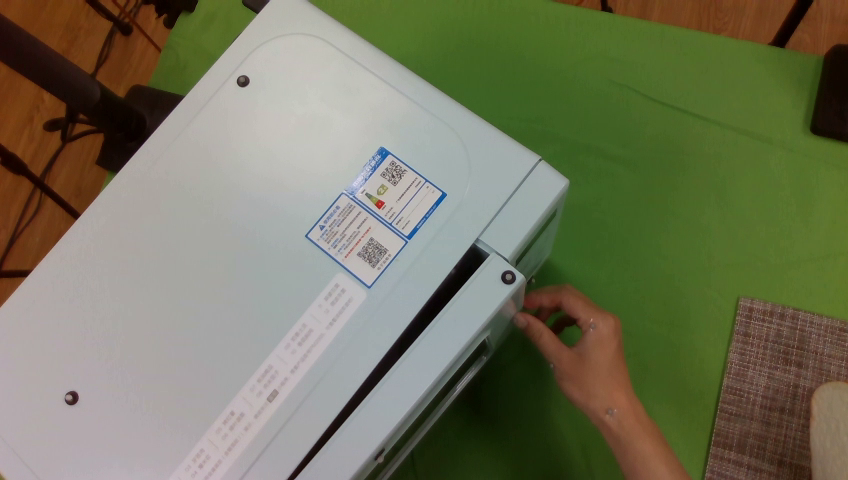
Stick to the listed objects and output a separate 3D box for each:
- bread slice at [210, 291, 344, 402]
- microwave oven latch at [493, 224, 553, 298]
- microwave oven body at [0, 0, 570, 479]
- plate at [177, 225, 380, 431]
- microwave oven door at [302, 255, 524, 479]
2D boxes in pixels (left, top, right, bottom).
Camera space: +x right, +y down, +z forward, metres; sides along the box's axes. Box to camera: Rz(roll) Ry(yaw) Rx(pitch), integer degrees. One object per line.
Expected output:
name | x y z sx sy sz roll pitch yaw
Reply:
bread slice | -0.151 0.116 0.623 0.134 0.018 0.106 -9 76 -2
microwave oven latch | 0.107 0.024 0.653 0.030 0.029 0.079 39 85 14
microwave oven body | -0.131 0.053 0.579 0.324 0.261 0.441 37 84 14
plate | -0.146 0.088 0.625 0.207 0.039 0.206 -1 77 4
microwave oven door | -0.038 0.174 0.531 0.039 0.245 0.355 40 85 16
